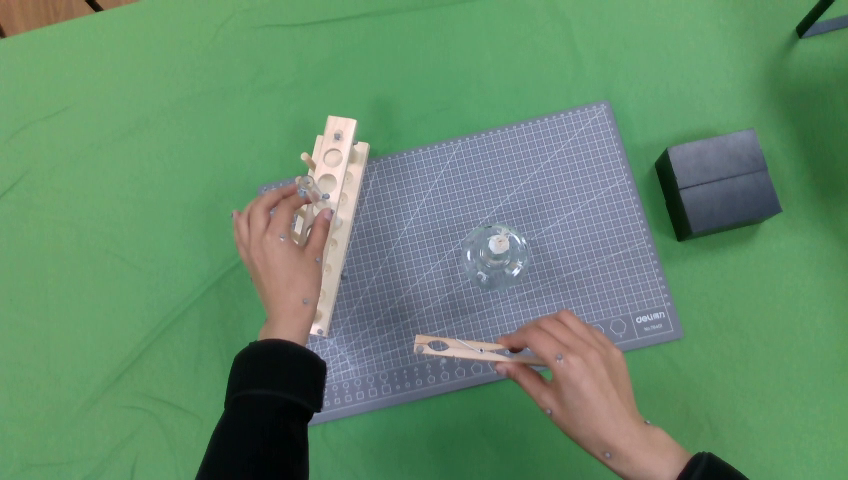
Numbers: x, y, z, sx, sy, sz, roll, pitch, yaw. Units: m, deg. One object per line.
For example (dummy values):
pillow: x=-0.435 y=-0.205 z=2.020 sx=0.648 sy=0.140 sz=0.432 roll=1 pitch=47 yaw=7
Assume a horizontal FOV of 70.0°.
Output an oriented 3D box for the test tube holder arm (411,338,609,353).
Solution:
test tube holder arm: x=0.077 y=0.095 z=0.546 sx=0.178 sy=0.015 sz=0.013 roll=1 pitch=65 yaw=-3

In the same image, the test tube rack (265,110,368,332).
test tube rack: x=-0.129 y=-0.022 z=0.699 sx=0.066 sy=0.085 sz=0.241 roll=10 pitch=80 yaw=7

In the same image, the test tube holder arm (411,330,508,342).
test tube holder arm: x=0.032 y=0.089 z=0.546 sx=0.088 sy=0.015 sz=0.010 roll=3 pitch=65 yaw=-2

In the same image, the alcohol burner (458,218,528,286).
alcohol burner: x=0.076 y=0.010 z=0.662 sx=0.078 sy=0.119 sz=0.077 roll=-1 pitch=77 yaw=3

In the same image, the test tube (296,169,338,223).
test tube: x=-0.112 y=-0.044 z=0.651 sx=0.017 sy=0.151 sz=0.017 roll=0 pitch=77 yaw=2
